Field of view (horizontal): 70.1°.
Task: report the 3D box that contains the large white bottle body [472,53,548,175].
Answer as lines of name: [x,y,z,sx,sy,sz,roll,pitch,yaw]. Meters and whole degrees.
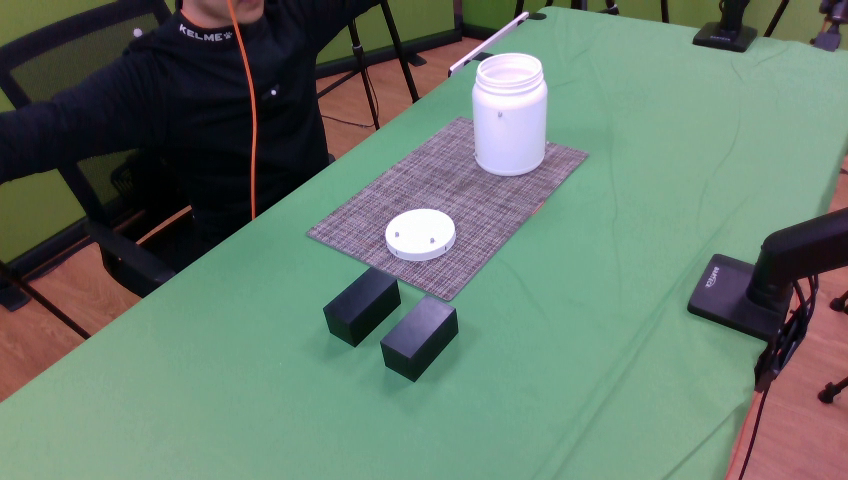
large white bottle body: [0.152,-0.224,1.075,0.130,0.185,0.130,-4,41,4]

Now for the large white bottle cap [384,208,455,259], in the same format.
large white bottle cap: [-0.007,-0.012,0.980,0.115,0.018,0.114,-4,40,4]
